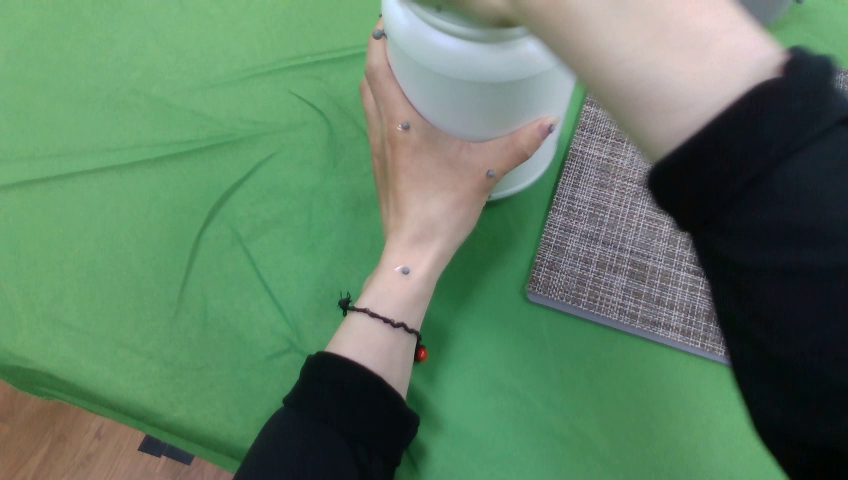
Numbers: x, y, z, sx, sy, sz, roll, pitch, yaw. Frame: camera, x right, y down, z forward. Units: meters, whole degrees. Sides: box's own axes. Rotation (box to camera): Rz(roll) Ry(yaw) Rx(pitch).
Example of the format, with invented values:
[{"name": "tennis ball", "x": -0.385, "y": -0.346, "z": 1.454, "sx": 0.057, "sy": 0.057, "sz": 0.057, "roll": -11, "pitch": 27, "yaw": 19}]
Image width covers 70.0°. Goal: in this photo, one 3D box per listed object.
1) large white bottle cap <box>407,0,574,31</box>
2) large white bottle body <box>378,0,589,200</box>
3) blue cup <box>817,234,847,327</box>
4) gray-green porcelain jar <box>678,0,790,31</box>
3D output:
[{"name": "large white bottle cap", "x": 0.036, "y": -0.164, "z": 0.339, "sx": 0.115, "sy": 0.018, "sz": 0.114, "roll": 0, "pitch": 64, "yaw": 0}, {"name": "large white bottle body", "x": 0.037, "y": -0.126, "z": 0.415, "sx": 0.130, "sy": 0.186, "sz": 0.129, "roll": 0, "pitch": 63, "yaw": 0}, {"name": "blue cup", "x": 0.314, "y": 0.017, "z": 0.394, "sx": 0.092, "sy": 0.101, "sz": 0.092, "roll": 0, "pitch": 62, "yaw": 0}, {"name": "gray-green porcelain jar", "x": 0.282, "y": -0.254, "z": 0.517, "sx": 0.106, "sy": 0.127, "sz": 0.105, "roll": 0, "pitch": 64, "yaw": 0}]
